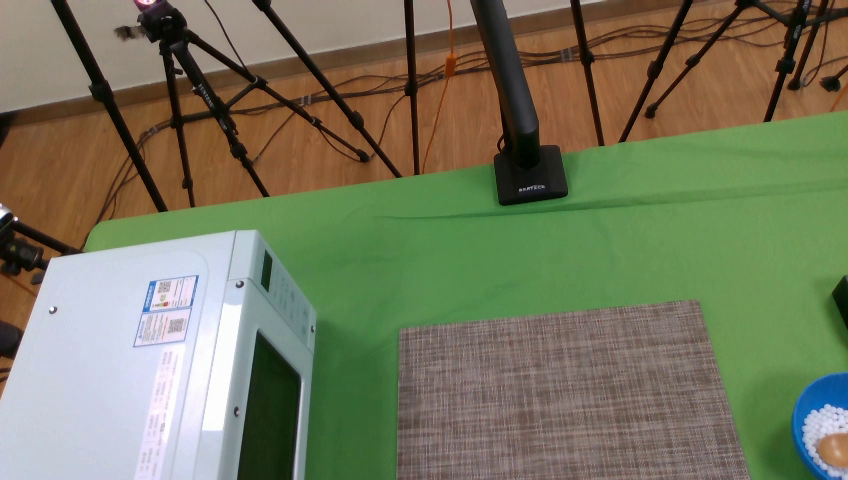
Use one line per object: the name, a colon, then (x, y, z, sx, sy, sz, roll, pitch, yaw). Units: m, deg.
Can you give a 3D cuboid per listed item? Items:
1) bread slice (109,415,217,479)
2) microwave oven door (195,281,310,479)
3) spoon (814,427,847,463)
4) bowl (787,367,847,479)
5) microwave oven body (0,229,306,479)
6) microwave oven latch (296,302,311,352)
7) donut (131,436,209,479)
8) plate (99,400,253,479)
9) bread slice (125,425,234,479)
bread slice: (-0.336, 0.285, 0.757, 0.130, 0.019, 0.105, 38, 74, 28)
microwave oven door: (-0.204, 0.260, 0.744, 0.039, 0.246, 0.352, -9, 55, 7)
spoon: (0.550, 0.216, 0.686, 0.193, 0.022, 0.041, -23, 46, 24)
bowl: (0.508, 0.236, 0.721, 0.151, 0.077, 0.150, -6, 55, 9)
microwave oven body: (-0.349, 0.250, 0.789, 0.326, 0.263, 0.437, -8, 56, 7)
microwave oven latch: (-0.193, 0.137, 0.949, 0.030, 0.030, 0.078, -8, 56, 7)
donut: (-0.325, 0.301, 0.777, 0.099, 0.049, 0.098, -3, 54, 4)
plate: (-0.323, 0.318, 0.799, 0.207, 0.039, 0.205, -4, 56, 7)
bread slice: (-0.330, 0.308, 0.797, 0.133, 0.018, 0.107, 26, 58, 31)
